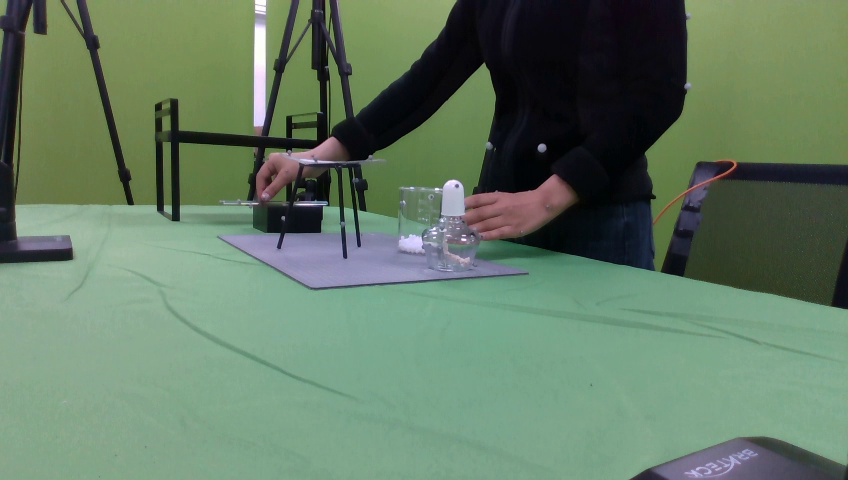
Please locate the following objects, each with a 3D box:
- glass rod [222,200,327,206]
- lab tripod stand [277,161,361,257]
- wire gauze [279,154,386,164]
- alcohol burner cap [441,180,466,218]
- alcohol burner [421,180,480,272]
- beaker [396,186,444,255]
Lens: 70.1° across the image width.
[{"bbox_3d":[-0.276,-0.069,1.134,0.201,0.008,0.008,0,8,-33],"label":"glass rod"},{"bbox_3d":[-0.143,-0.049,0.884,0.148,0.131,0.148,1,9,0],"label":"lab tripod stand"},{"bbox_3d":[-0.134,-0.114,0.875,0.122,0.011,0.124,-2,9,-30],"label":"wire gauze"},{"bbox_3d":[0.038,-0.053,0.781,0.034,0.048,0.034,0,12,0],"label":"alcohol burner cap"},{"bbox_3d":[0.035,-0.018,0.785,0.078,0.119,0.078,4,6,0],"label":"alcohol burner"},{"bbox_3d":[-0.003,-0.030,0.920,0.083,0.100,0.074,7,9,31],"label":"beaker"}]
